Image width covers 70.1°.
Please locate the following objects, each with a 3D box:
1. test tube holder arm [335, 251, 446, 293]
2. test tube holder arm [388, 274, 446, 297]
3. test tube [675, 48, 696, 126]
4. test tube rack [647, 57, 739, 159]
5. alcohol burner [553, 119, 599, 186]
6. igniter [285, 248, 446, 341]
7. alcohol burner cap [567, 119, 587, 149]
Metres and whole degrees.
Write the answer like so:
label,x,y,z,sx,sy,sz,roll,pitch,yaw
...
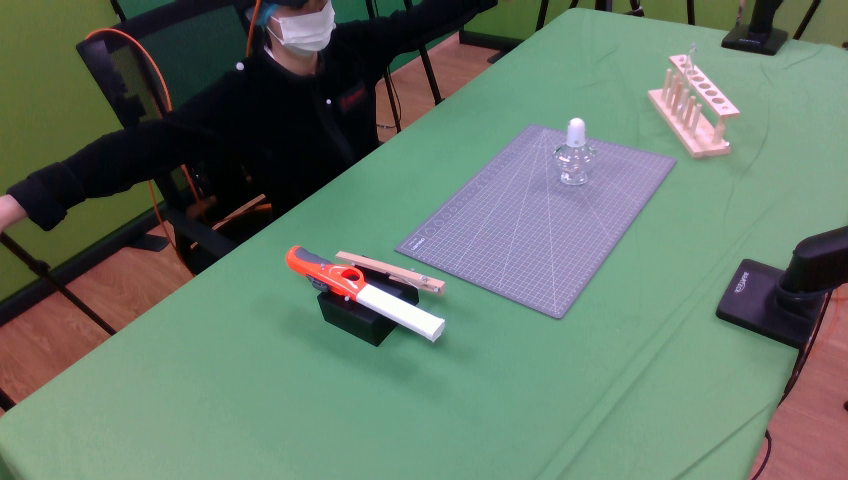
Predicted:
label,x,y,z,sx,sy,sz,roll,pitch,yaw
test tube holder arm,-0.050,0.043,0.853,0.177,0.013,0.015,17,39,24
test tube holder arm,-0.011,0.060,0.838,0.087,0.010,0.015,18,39,24
test tube,0.481,-0.279,1.112,0.017,0.151,0.017,-5,40,5
test tube rack,0.504,-0.257,1.153,0.067,0.085,0.241,-8,40,1
alcohol burner,0.261,-0.153,1.042,0.078,0.119,0.077,-6,40,6
igniter,-0.091,0.069,0.831,0.274,0.025,0.057,22,47,27
alcohol burner cap,0.257,-0.181,1.019,0.034,0.048,0.033,-7,35,5
